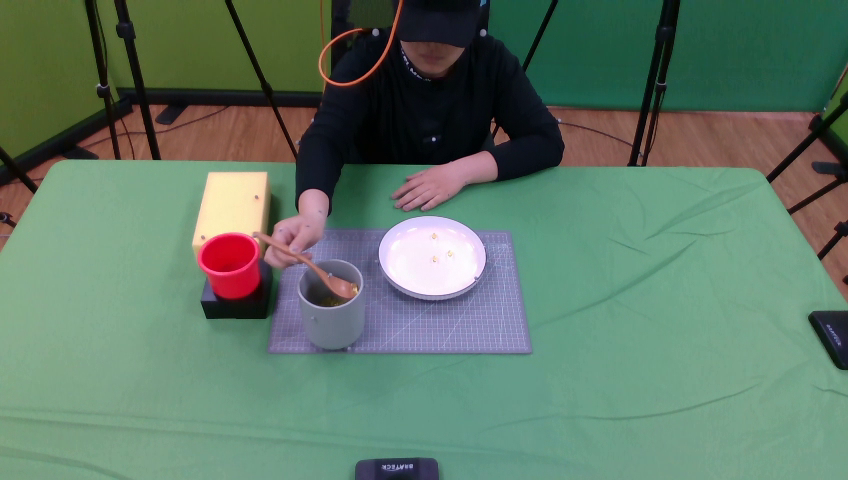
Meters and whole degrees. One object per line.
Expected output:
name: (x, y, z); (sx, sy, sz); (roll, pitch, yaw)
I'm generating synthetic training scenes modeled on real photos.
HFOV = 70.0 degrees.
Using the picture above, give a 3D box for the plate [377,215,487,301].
plate: (0.015, 0.037, 1.147); (0.208, 0.039, 0.206); (2, 46, -2)

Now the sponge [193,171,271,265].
sponge: (-0.371, -0.047, 1.189); (0.118, 0.061, 0.205); (-3, 46, -6)

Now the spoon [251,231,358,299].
spoon: (-0.185, 0.037, 0.950); (0.194, 0.021, 0.041); (38, 30, -22)

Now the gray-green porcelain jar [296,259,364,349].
gray-green porcelain jar: (-0.152, 0.111, 1.003); (0.106, 0.127, 0.105); (2, 46, -2)
